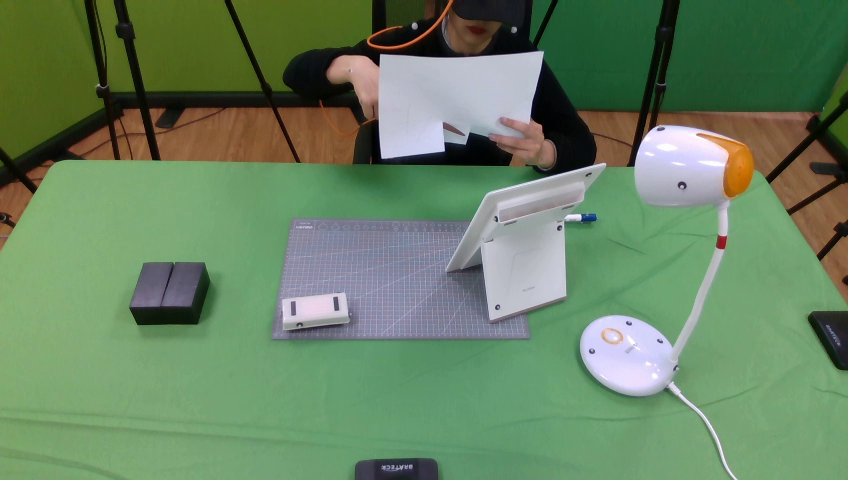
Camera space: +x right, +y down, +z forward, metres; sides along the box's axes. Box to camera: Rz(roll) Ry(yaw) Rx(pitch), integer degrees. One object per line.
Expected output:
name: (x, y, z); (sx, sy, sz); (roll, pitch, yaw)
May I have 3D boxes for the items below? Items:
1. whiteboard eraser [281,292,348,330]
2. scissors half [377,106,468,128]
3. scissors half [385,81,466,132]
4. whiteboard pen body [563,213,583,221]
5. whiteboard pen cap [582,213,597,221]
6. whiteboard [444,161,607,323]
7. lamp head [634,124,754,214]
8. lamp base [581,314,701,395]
whiteboard eraser: (-0.189, 0.124, 1.045); (0.113, 0.042, 0.055); (-6, 46, -10)
scissors half: (-0.002, -0.231, 1.162); (0.175, 0.040, 0.013); (2, 11, -6)
scissors half: (0.005, -0.253, 1.159); (0.175, 0.040, 0.013); (31, 3, -9)
whiteboard pen body: (0.283, -0.047, 1.257); (0.141, 0.017, 0.017); (-1, 46, -2)
whiteboard pen cap: (0.342, -0.048, 1.260); (0.033, 0.018, 0.018); (-3, 46, -3)
whiteboard: (0.186, 0.025, 1.029); (0.217, 0.306, 0.143); (-14, 68, -18)
lamp head: (0.351, -0.089, 0.775); (0.112, 0.113, 0.122); (-30, 30, -28)
lamp base: (0.361, 0.144, 0.973); (0.178, 0.181, 0.160); (34, 53, 23)
